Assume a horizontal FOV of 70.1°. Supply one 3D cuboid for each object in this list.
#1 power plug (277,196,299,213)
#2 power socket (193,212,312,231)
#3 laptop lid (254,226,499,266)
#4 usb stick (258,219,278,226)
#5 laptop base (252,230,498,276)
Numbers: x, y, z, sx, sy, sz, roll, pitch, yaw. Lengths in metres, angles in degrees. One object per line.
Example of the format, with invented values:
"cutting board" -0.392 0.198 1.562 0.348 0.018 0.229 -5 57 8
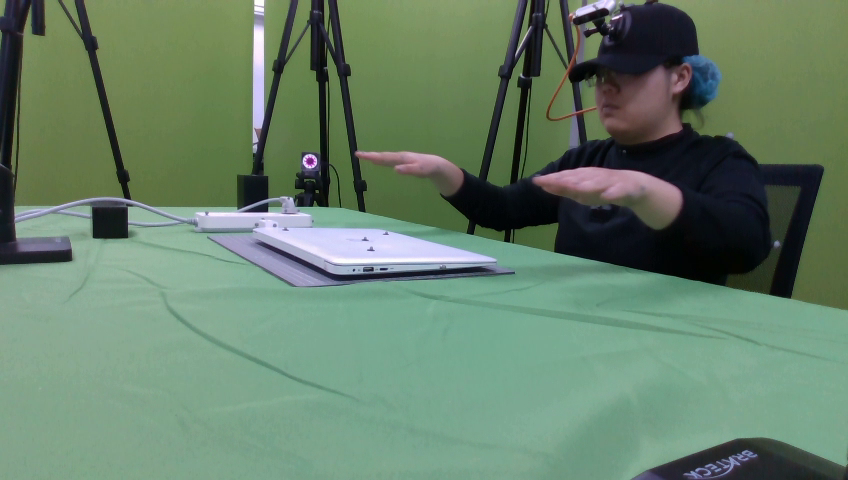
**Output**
"power plug" -0.274 -0.062 1.217 0.035 0.052 0.072 0 5 -21
"power socket" -0.322 -0.037 1.153 0.228 0.032 0.072 -2 7 -33
"laptop lid" -0.086 0.004 0.876 0.243 0.013 0.355 1 7 -30
"usb stick" -0.255 -0.019 0.996 0.021 0.027 0.059 -2 12 -29
"laptop base" -0.089 0.016 0.876 0.237 0.023 0.352 2 6 -32
